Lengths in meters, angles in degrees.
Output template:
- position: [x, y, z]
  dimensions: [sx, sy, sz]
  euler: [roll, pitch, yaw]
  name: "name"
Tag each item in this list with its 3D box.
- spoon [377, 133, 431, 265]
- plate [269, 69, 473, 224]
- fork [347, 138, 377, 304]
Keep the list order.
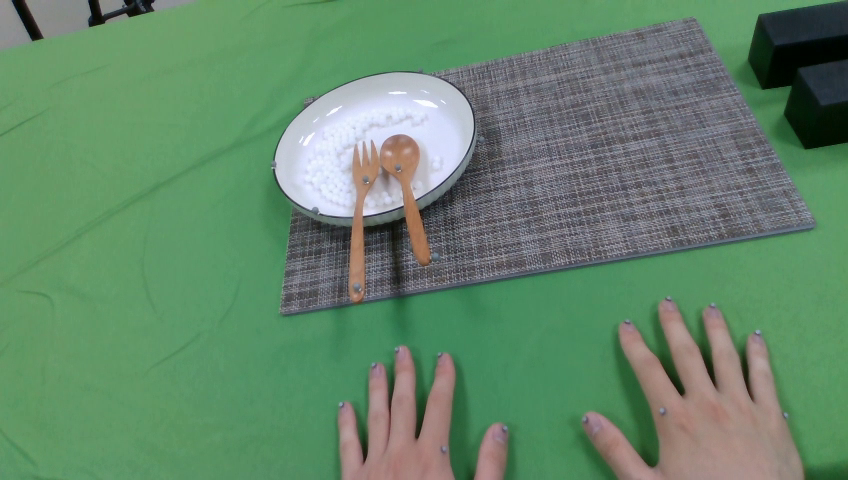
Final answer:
- position: [-0.017, -0.043, 0.545]
  dimensions: [0.041, 0.022, 0.191]
  euler: [-14, 37, 1]
  name: "spoon"
- position: [-0.052, -0.093, 0.613]
  dimensions: [0.207, 0.039, 0.205]
  euler: [-7, 52, 9]
  name: "plate"
- position: [-0.058, -0.026, 0.543]
  dimensions: [0.028, 0.019, 0.205]
  euler: [-9, 43, 6]
  name: "fork"
